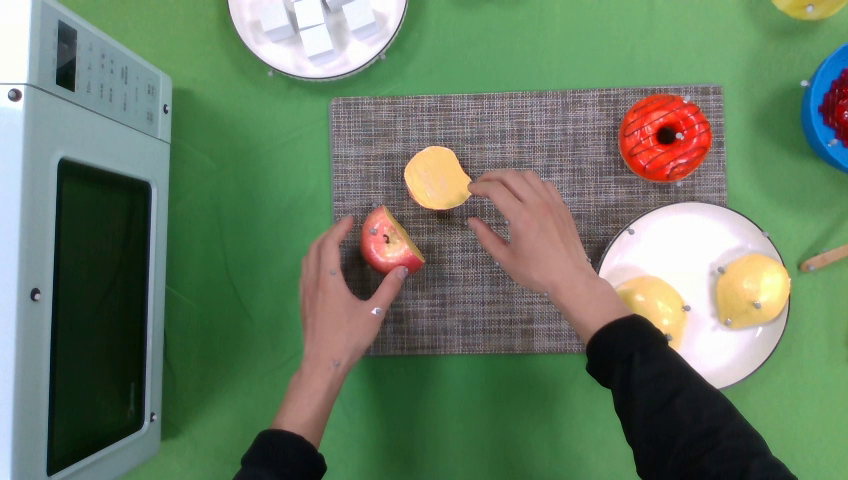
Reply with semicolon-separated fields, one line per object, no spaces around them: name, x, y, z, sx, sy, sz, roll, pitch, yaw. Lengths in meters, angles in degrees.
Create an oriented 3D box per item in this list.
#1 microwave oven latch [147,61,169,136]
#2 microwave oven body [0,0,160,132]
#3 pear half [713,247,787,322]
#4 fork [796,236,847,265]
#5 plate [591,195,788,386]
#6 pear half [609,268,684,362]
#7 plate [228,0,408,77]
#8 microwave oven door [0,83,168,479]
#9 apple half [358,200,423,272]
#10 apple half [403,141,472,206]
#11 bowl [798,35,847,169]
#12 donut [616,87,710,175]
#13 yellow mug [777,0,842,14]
microwave oven latch;-0.306;-0.160;0.684;0.030;0.029;0.079;4;90;2
microwave oven body;-0.463;0.011;0.593;0.326;0.260;0.441;1;90;2
pear half;0.348;0.051;0.654;0.070;0.031;0.088;35;102;26
fork;0.502;-0.023;0.642;0.207;0.018;0.028;-31;96;22
plate;0.289;0.055;0.671;0.209;0.038;0.209;0;89;2
pear half;0.251;0.087;0.658;0.076;0.056;0.110;-29;95;7
plate;-0.118;-0.288;0.697;0.207;0.039;0.207;0;89;3
microwave oven door;-0.320;0.057;0.581;0.039;0.244;0.355;1;89;3
apple half;-0.043;0.003;0.668;0.053;0.074;0.081;-37;92;5
apple half;0.010;-0.069;0.683;0.081;0.033;0.081;5;71;-14
bowl;0.467;-0.142;0.650;0.151;0.077;0.151;0;90;3
donut;0.262;-0.120;0.671;0.099;0.048;0.099;0;90;6
yellow mug;0.428;-0.320;0.659;0.100;0.064;0.130;-34;87;2
